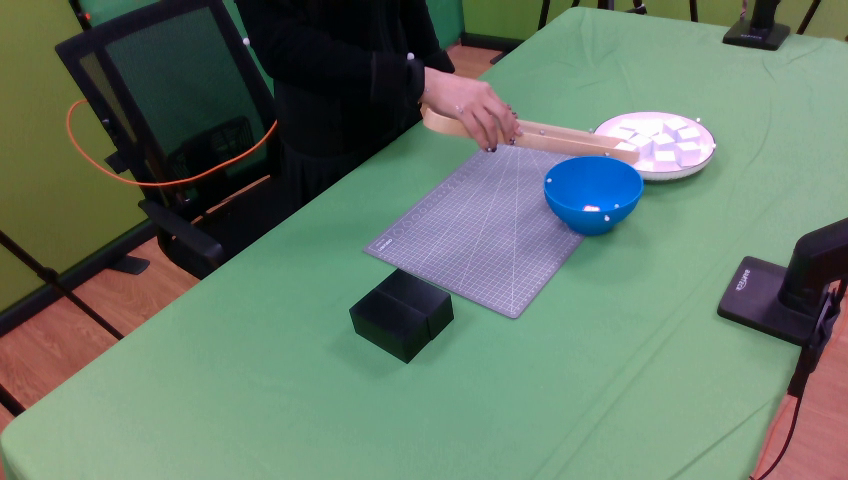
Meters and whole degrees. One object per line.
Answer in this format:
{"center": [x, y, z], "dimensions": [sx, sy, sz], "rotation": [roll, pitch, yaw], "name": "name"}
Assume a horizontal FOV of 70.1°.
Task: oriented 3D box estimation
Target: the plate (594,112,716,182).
{"center": [0.408, -0.163, 1.084], "dimensions": [0.207, 0.039, 0.206], "rotation": [-4, 40, 4], "name": "plate"}

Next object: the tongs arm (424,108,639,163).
{"center": [0.187, -0.163, 0.978], "dimensions": [0.390, 0.028, 0.028], "rotation": [6, 33, -21], "name": "tongs arm"}

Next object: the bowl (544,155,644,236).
{"center": [0.266, -0.061, 0.957], "dimensions": [0.151, 0.077, 0.150], "rotation": [-5, 41, 5], "name": "bowl"}

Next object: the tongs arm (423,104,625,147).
{"center": [0.179, -0.179, 1.003], "dimensions": [0.387, 0.026, 0.050], "rotation": [7, 29, -19], "name": "tongs arm"}
